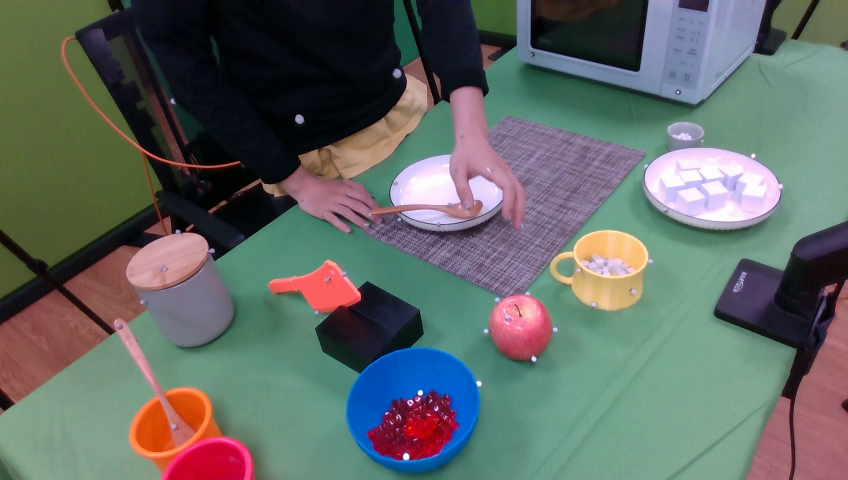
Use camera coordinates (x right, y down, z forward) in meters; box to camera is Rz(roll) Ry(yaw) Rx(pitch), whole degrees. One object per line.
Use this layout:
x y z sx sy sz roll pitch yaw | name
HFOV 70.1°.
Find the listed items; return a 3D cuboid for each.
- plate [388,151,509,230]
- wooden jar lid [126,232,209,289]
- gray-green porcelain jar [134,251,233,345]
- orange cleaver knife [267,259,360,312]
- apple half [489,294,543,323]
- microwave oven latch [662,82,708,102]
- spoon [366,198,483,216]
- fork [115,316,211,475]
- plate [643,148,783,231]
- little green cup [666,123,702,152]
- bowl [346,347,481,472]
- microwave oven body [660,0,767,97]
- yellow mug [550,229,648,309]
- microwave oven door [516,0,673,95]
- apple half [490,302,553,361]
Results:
0.044 -0.082 1.042 0.209 0.038 0.208 -4 40 4 | plate
-0.340 0.030 0.808 0.108 0.021 0.108 -5 39 5 | wooden jar lid
-0.334 0.076 0.849 0.106 0.127 0.105 -4 41 4 | gray-green porcelain jar
-0.161 0.070 0.859 0.210 0.077 0.012 -13 22 49 | orange cleaver knife
0.121 0.098 0.800 0.081 0.081 0.032 -10 44 -4 | apple half
0.517 -0.298 1.203 0.078 0.029 0.030 28 52 35 | microwave oven latch
0.002 -0.054 0.996 0.194 0.022 0.041 -1 45 -10 | spoon
-0.308 0.179 0.708 0.028 0.018 0.207 -30 89 -19 | fork
0.464 -0.080 0.986 0.207 0.039 0.206 -4 41 4 | plate
0.472 -0.183 1.102 0.061 0.039 0.061 -5 41 5 | little green cup
-0.008 0.205 0.691 0.151 0.077 0.150 -4 40 4 | bowl
0.473 -0.516 1.313 0.438 0.261 0.327 26 51 34 | microwave oven body
0.245 0.040 0.857 0.130 0.064 0.099 1 42 11 | yellow mug
0.344 -0.458 1.256 0.353 0.245 0.039 26 51 33 | microwave oven door
0.127 0.123 0.771 0.081 0.075 0.053 -8 43 -6 | apple half
